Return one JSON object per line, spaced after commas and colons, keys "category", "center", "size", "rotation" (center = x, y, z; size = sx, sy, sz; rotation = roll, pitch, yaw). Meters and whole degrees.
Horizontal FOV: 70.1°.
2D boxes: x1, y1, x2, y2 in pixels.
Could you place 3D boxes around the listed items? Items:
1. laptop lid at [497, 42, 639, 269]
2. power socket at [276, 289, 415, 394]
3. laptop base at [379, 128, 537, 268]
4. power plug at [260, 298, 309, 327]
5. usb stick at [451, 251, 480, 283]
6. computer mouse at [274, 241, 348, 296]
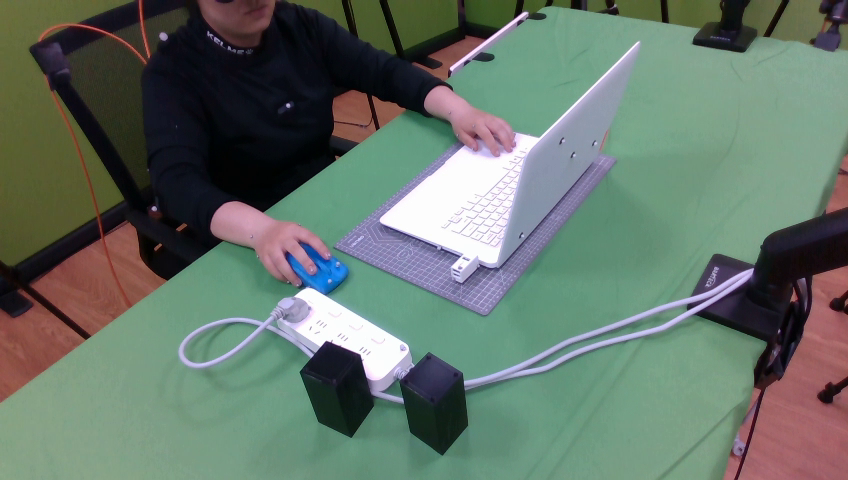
{"category": "laptop lid", "center": [0.221, -0.130, 0.913], "size": [0.013, 0.242, 0.357], "rotation": [31, 51, 21]}
{"category": "power socket", "center": [-0.113, 0.133, 0.821], "size": [0.225, 0.033, 0.072], "rotation": [25, 50, 33]}
{"category": "laptop base", "center": [0.118, -0.088, 1.058], "size": [0.233, 0.023, 0.355], "rotation": [19, 47, 32]}
{"category": "power plug", "center": [-0.193, 0.107, 0.831], "size": [0.073, 0.053, 0.035], "rotation": [-31, 43, -26]}
{"category": "usb stick", "center": [0.066, 0.036, 0.899], "size": [0.021, 0.027, 0.059], "rotation": [23, 45, 32]}
{"category": "computer mouse", "center": [-0.176, 0.040, 0.935], "size": [0.116, 0.041, 0.063], "rotation": [27, 48, 27]}
